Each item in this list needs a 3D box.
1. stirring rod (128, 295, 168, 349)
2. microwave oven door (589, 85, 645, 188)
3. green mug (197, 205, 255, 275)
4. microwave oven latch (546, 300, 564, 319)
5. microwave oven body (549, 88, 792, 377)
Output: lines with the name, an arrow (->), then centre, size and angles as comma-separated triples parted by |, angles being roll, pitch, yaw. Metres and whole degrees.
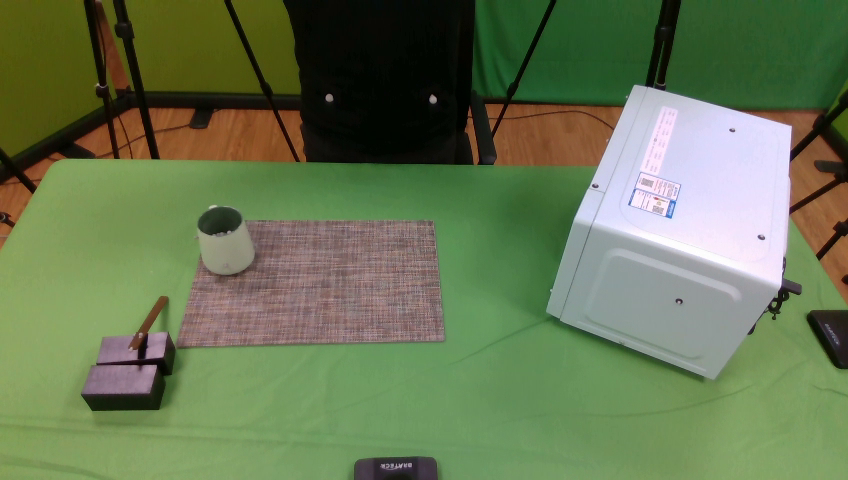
stirring rod -> -0.451, 0.131, 0.996 | 0.014, 0.006, 0.175 | 9, 20, -10
microwave oven door -> 0.342, -0.107, 1.149 | 0.039, 0.245, 0.354 | 20, 48, 15
green mug -> -0.370, -0.008, 1.114 | 0.092, 0.105, 0.124 | -19, 50, -20
microwave oven latch -> 0.242, 0.102, 1.081 | 0.030, 0.029, 0.079 | 21, 48, 17
microwave oven body -> 0.456, -0.028, 1.088 | 0.325, 0.261, 0.440 | 20, 47, 16
